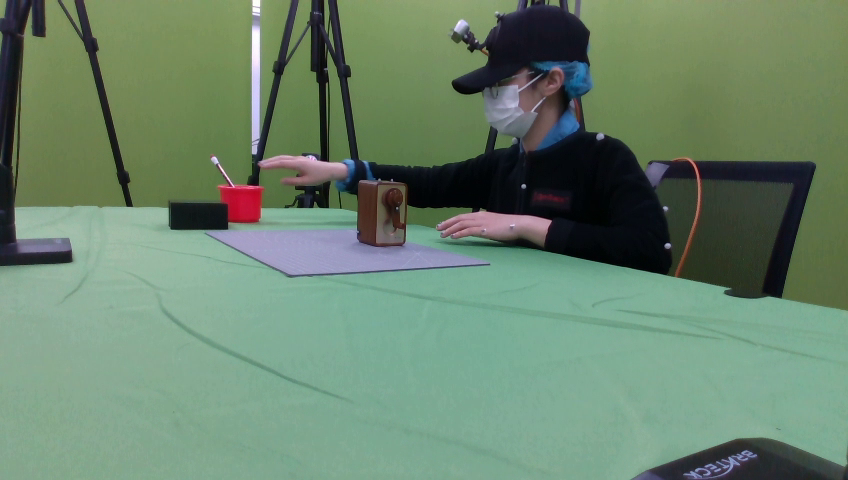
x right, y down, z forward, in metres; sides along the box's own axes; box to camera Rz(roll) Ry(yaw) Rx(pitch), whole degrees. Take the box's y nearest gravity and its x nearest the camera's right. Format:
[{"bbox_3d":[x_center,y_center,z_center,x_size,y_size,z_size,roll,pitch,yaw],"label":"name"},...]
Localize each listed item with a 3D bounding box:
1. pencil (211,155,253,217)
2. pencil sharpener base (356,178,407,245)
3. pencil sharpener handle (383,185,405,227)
[{"bbox_3d":[-0.422,-0.120,1.331,0.012,0.012,0.193,-8,53,-52],"label":"pencil"},{"bbox_3d":[-0.071,-0.049,1.018,0.062,0.107,0.076,-2,9,-32],"label":"pencil sharpener base"},{"bbox_3d":[-0.043,-0.055,0.975,0.036,0.067,0.030,-10,13,-31],"label":"pencil sharpener handle"}]
